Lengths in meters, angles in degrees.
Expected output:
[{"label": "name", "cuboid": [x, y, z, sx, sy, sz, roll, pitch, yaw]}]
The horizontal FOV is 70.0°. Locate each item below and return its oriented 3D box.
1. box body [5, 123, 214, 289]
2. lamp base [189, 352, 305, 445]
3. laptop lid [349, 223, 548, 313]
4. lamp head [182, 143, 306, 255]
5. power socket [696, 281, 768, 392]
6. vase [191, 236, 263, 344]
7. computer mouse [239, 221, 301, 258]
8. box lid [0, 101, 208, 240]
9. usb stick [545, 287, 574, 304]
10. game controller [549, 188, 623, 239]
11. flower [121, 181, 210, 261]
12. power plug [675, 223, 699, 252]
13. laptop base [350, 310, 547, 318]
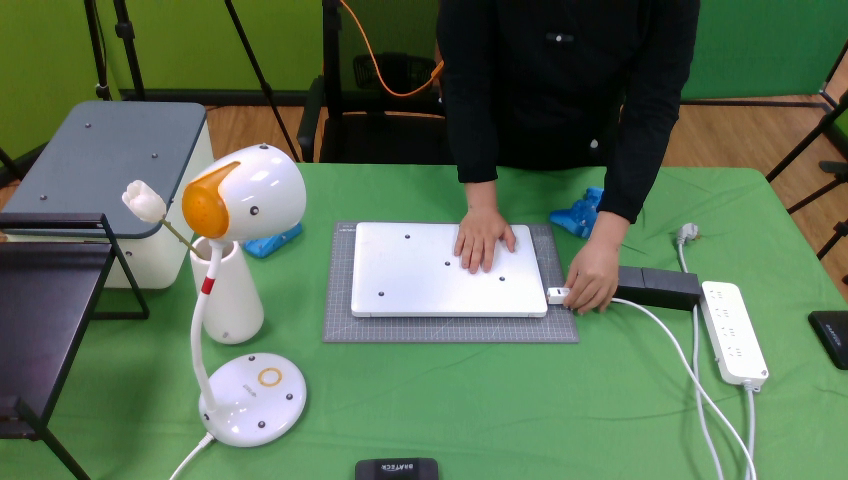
[{"label": "box body", "cuboid": [-0.563, -0.087, 1.139, 0.254, 0.161, 0.361, 2, 46, -3]}, {"label": "lamp base", "cuboid": [-0.267, 0.197, 0.876, 0.160, 0.181, 0.179, 26, 52, 20]}, {"label": "laptop lid", "cuboid": [0.042, 0.047, 1.143, 0.357, 0.013, 0.240, 2, 43, -3]}, {"label": "lamp head", "cuboid": [-0.215, -0.044, 0.697, 0.112, 0.113, 0.123, 23, 31, 17]}, {"label": "power socket", "cuboid": [0.542, 0.161, 1.077, 0.072, 0.033, 0.225, 5, 46, 1]}, {"label": "vase", "cuboid": [-0.317, 0.081, 0.971, 0.098, 0.201, 0.097, 3, 47, -3]}, {"label": "computer mouse", "cuboid": [-0.300, -0.016, 1.178, 0.062, 0.041, 0.117, 35, 57, 22]}, {"label": "box lid", "cuboid": [-0.559, -0.137, 1.085, 0.263, 0.015, 0.369, 2, 46, -2]}, {"label": "usb stick", "cuboid": [0.241, 0.102, 1.103, 0.059, 0.027, 0.021, -5, 51, -2]}, {"label": "game controller", "cuboid": [0.346, -0.065, 1.272, 0.155, 0.052, 0.096, -31, 58, -28]}, {"label": "flower", "cuboid": [-0.328, 0.029, 0.905, 0.038, 0.364, 0.044, -23, 58, -1]}, {"label": "power plug", "cuboid": [0.537, 0.000, 1.243, 0.053, 0.035, 0.072, 23, 81, -15]}, {"label": "laptop base", "cuboid": [0.041, 0.056, 1.149, 0.355, 0.023, 0.234, 1, 43, -4]}]
